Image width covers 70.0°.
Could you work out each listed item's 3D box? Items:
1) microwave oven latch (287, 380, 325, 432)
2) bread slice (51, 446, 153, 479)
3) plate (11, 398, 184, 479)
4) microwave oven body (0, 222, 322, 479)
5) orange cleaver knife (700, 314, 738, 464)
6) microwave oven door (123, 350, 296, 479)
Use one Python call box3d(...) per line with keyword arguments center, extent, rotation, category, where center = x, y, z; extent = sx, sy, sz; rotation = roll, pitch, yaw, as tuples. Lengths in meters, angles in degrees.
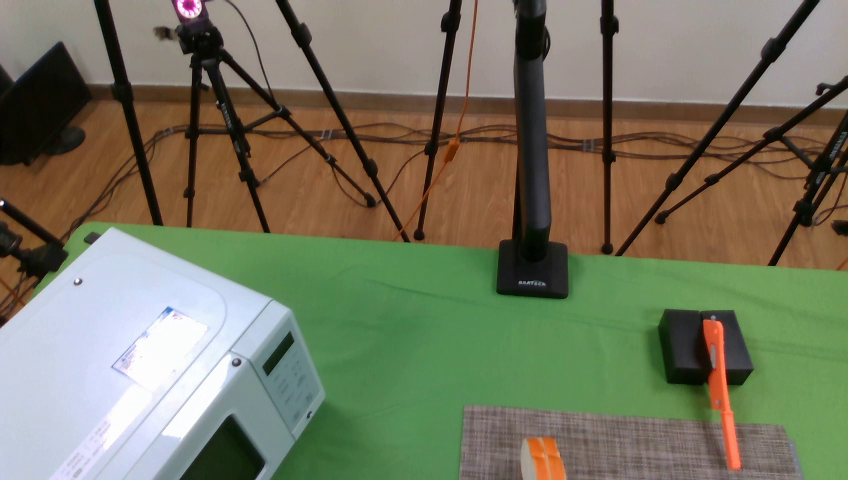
box3d(center=(-0.174, 0.234, 0.871), extent=(0.030, 0.030, 0.079), rotation=(22, 56, 20), category="microwave oven latch")
box3d(center=(-0.409, 0.330, 0.761), extent=(0.135, 0.018, 0.106), rotation=(-12, 50, -20), category="bread slice")
box3d(center=(-0.411, 0.305, 0.773), extent=(0.208, 0.039, 0.205), rotation=(1, 49, 0), category="plate")
box3d(center=(-0.393, 0.247, 0.749), extent=(0.324, 0.262, 0.439), rotation=(21, 56, 19), category="microwave oven body")
box3d(center=(0.411, 0.203, 0.851), extent=(0.012, 0.077, 0.210), rotation=(-1, 72, 6), category="orange cleaver knife")
box3d(center=(-0.285, 0.321, 0.675), extent=(0.039, 0.246, 0.354), rotation=(20, 55, 20), category="microwave oven door")
